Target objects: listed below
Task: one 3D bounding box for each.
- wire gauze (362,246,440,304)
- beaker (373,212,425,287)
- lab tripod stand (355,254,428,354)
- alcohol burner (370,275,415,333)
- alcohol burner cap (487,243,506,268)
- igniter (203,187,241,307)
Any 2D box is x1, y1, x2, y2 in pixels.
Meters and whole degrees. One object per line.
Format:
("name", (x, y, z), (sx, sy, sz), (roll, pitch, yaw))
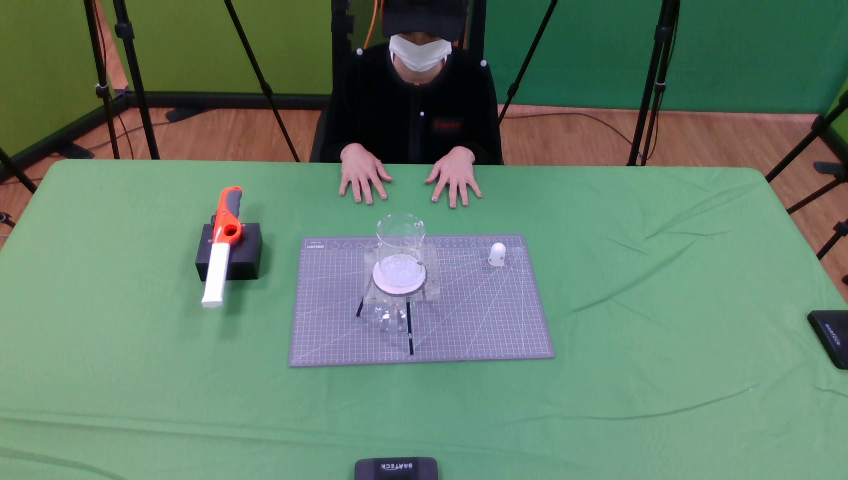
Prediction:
("wire gauze", (-0.038, 0.052, 0.972), (0.121, 0.011, 0.124), (0, 44, -5))
("beaker", (-0.036, 0.019, 0.936), (0.074, 0.101, 0.083), (-29, 54, -26))
("lab tripod stand", (-0.046, 0.100, 1.017), (0.148, 0.132, 0.147), (1, 47, -1))
("alcohol burner", (-0.054, 0.103, 1.026), (0.078, 0.120, 0.077), (1, 44, -1))
("alcohol burner cap", (0.141, 0.027, 1.166), (0.034, 0.048, 0.033), (2, 45, -2))
("igniter", (-0.365, 0.003, 1.098), (0.057, 0.025, 0.274), (-1, 49, -7))
